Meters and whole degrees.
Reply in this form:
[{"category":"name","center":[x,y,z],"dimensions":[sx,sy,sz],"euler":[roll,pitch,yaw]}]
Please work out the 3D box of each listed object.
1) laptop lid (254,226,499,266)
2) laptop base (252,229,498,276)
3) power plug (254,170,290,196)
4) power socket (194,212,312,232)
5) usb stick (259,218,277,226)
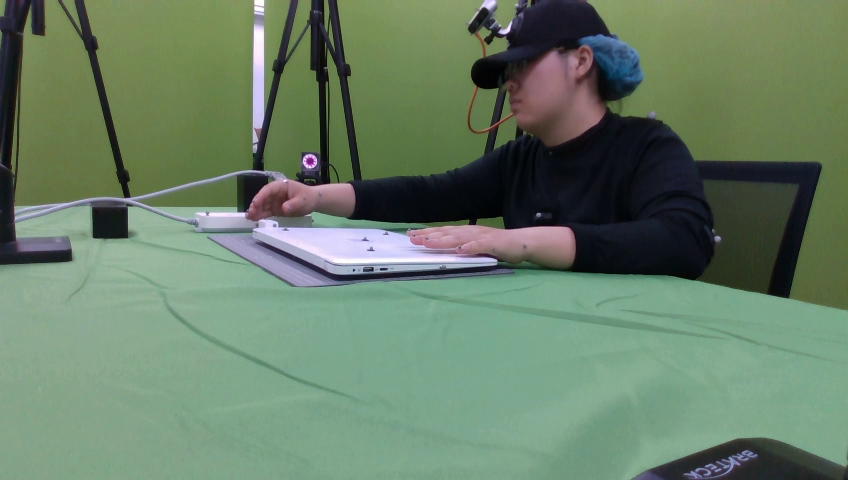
[{"category":"laptop lid","center":[-0.086,0.005,0.876],"dimensions":[0.243,0.013,0.355],"euler":[1,7,-30]},{"category":"laptop base","center":[-0.089,0.016,0.876],"dimensions":[0.237,0.023,0.352],"euler":[2,6,-32]},{"category":"power plug","center":[-0.322,-0.119,1.284],"dimensions":[0.073,0.052,0.035],"euler":[1,-13,-14]},{"category":"power socket","center":[-0.322,-0.037,1.152],"dimensions":[0.228,0.032,0.072],"euler":[-3,8,-34]},{"category":"usb stick","center":[-0.255,-0.019,0.995],"dimensions":[0.021,0.027,0.059],"euler":[-8,16,-26]}]
